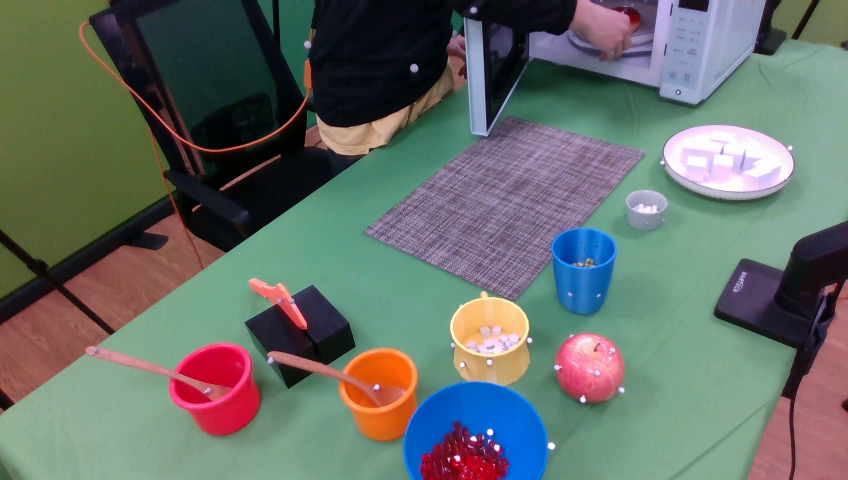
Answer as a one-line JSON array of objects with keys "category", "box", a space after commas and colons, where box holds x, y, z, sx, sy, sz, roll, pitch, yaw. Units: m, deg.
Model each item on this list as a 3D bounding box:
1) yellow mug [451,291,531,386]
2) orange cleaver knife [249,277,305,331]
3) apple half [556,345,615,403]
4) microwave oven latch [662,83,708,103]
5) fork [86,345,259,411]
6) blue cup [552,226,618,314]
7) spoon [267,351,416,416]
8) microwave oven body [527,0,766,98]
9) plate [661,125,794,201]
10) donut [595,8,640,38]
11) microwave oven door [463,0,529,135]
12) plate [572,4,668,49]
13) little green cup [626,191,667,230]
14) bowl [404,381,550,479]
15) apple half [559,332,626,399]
[{"category": "yellow mug", "box": [0.086, 0.120, 0.786, 0.100, 0.064, 0.130, -7, 39, 1]}, {"category": "orange cleaver knife", "box": [-0.210, 0.088, 0.855, 0.012, 0.077, 0.210, -28, 15, -25]}, {"category": "apple half", "box": [0.181, 0.167, 0.709, 0.080, 0.081, 0.033, 29, 50, 35]}, {"category": "microwave oven latch", "box": [0.519, -0.297, 1.204, 0.030, 0.029, 0.078, -37, 47, -29]}, {"category": "fork", "box": [-0.298, 0.166, 0.728, 0.209, 0.018, 0.028, 28, 47, -23]}, {"category": "blue cup", "box": [0.218, 0.047, 0.825, 0.092, 0.101, 0.092, -6, 40, 5]}, {"category": "spoon", "box": [-0.091, 0.162, 0.699, 0.021, 0.195, 0.041, -45, 30, 26]}, {"category": "microwave oven body", "box": [0.472, -0.513, 1.317, 0.438, 0.261, 0.327, 26, 51, 34]}, {"category": "plate", "box": [0.513, -0.128, 1.035, 0.207, 0.039, 0.206, -4, 40, 4]}, {"category": "donut", "box": [0.436, -0.489, 1.360, 0.099, 0.048, 0.098, -12, 35, 9]}, {"category": "microwave oven door", "box": [0.156, -0.410, 1.236, 0.039, 0.245, 0.355, 10, 43, 19]}, {"category": "plate", "box": [0.440, -0.481, 1.371, 0.209, 0.038, 0.208, -2, 40, 2]}, {"category": "little green cup", "box": [0.352, -0.046, 0.963, 0.061, 0.039, 0.061, -4, 40, 4]}, {"category": "bowl", "box": [0.058, 0.235, 0.645, 0.151, 0.077, 0.150, -4, 39, 4]}, {"category": "apple half", "box": [0.209, 0.147, 0.730, 0.080, 0.075, 0.053, 26, 48, 38]}]
